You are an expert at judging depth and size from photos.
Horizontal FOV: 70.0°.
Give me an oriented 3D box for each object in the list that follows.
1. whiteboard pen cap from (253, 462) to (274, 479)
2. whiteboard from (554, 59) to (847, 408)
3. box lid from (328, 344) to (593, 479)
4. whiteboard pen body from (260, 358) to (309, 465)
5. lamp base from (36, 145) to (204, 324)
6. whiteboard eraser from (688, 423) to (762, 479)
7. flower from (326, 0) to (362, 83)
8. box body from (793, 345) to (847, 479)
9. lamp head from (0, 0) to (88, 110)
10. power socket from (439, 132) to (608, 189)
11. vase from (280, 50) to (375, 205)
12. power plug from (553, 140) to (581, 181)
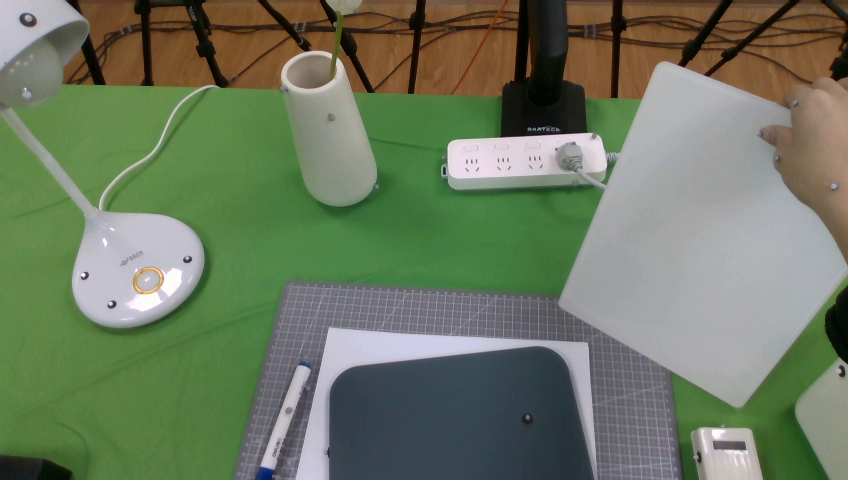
[{"bbox_3d":[-0.163,0.241,0.608,0.018,0.018,0.033,10,60,10],"label":"whiteboard pen cap"},{"bbox_3d":[0.302,-0.019,0.620,0.215,0.308,0.144,31,43,22],"label":"whiteboard"},{"bbox_3d":[0.039,0.278,0.578,0.263,0.015,0.367,-6,57,-1],"label":"box lid"},{"bbox_3d":[-0.150,0.191,0.637,0.017,0.017,0.140,10,60,11],"label":"whiteboard pen body"},{"bbox_3d":[-0.370,-0.017,0.696,0.178,0.182,0.160,32,64,25],"label":"lamp base"},{"bbox_3d":[0.290,0.233,0.576,0.055,0.042,0.111,1,57,3],"label":"whiteboard eraser"},{"bbox_3d":[-0.105,-0.170,0.672,0.044,0.363,0.038,-33,77,-27],"label":"flower"},{"bbox_3d":[0.520,0.236,0.487,0.254,0.162,0.360,-12,57,-5],"label":"box body"},{"bbox_3d":[-0.338,-0.170,0.448,0.123,0.112,0.112,44,62,-15],"label":"lamp head"},{"bbox_3d":[0.133,-0.107,0.815,0.227,0.033,0.071,-1,57,2],"label":"power socket"},{"bbox_3d":[-0.120,-0.132,0.746,0.098,0.202,0.097,-2,56,4],"label":"vase"},{"bbox_3d":[0.183,-0.096,0.778,0.035,0.053,0.072,7,64,8],"label":"power plug"}]
